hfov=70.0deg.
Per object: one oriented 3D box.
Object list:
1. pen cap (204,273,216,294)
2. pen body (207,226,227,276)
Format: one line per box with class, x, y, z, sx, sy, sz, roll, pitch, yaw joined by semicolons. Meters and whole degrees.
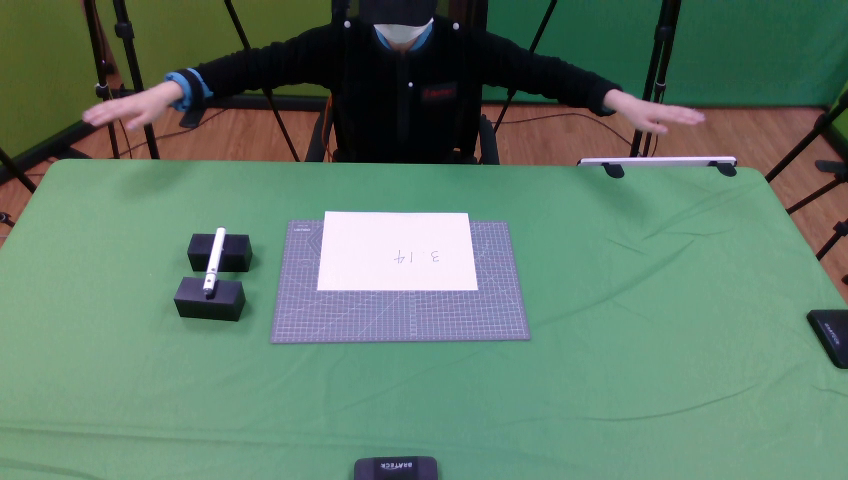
pen cap;-0.364;0.075;1.032;0.017;0.017;0.038;-2;45;-6
pen body;-0.369;0.030;1.076;0.017;0.017;0.143;0;46;-5
